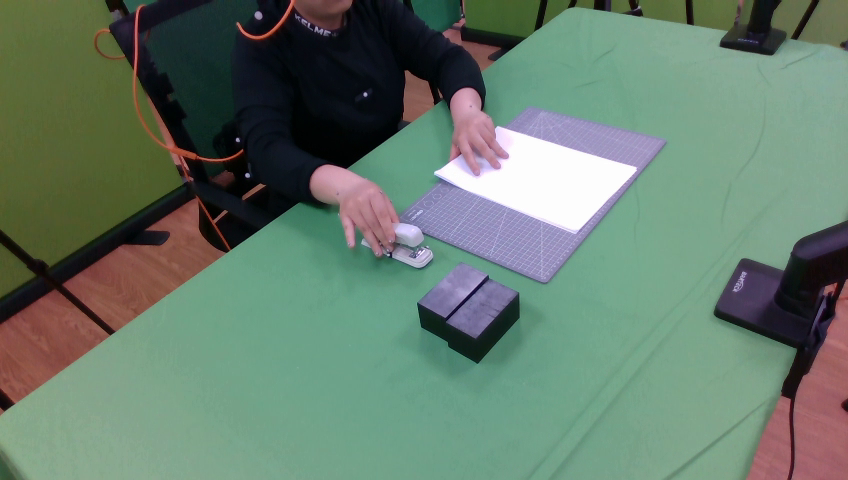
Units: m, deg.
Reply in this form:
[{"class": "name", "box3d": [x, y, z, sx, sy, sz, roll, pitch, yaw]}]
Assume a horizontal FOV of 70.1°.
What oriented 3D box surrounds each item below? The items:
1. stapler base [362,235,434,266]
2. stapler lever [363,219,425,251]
[{"class": "stapler base", "box3d": [-0.043, 0.006, 0.973, 0.129, 0.024, 0.041, 19, 44, 34]}, {"class": "stapler lever", "box3d": [-0.049, -0.014, 0.958, 0.117, 0.040, 0.027, 19, 44, 34]}]
